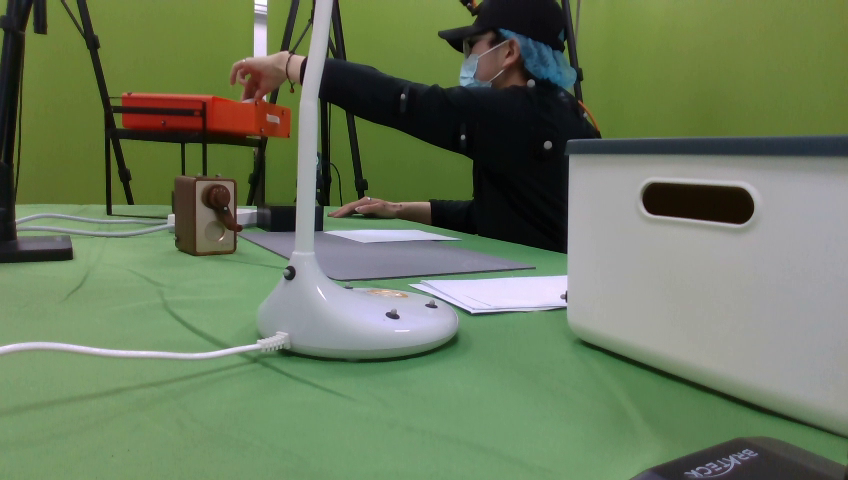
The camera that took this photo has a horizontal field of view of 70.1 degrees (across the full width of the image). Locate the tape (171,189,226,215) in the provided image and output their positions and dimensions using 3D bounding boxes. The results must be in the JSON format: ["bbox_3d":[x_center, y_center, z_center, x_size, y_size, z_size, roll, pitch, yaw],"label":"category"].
[{"bbox_3d":[-0.516,-0.087,1.388,0.117,0.052,0.117,3,8,0],"label":"tape"}]

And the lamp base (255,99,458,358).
[{"bbox_3d":[-0.056,-0.013,0.463,0.160,0.180,0.180,6,11,27],"label":"lamp base"}]

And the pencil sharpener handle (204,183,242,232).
[{"bbox_3d":[-0.265,-0.043,0.813,0.036,0.068,0.030,-32,28,-35],"label":"pencil sharpener handle"}]

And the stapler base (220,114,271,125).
[{"bbox_3d":[-0.399,-0.272,1.362,0.041,0.024,0.131,3,14,27],"label":"stapler base"}]

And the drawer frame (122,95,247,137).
[{"bbox_3d":[-0.526,-0.281,1.376,0.213,0.082,0.202,3,8,8],"label":"drawer frame"}]

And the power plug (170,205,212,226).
[{"bbox_3d":[-0.455,-0.041,1.196,0.052,0.035,0.072,1,43,24],"label":"power plug"}]

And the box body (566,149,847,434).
[{"bbox_3d":[0.317,0.009,0.472,0.366,0.160,0.253,-2,8,-31],"label":"box body"}]

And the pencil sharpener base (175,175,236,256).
[{"bbox_3d":[-0.305,-0.036,0.847,0.062,0.107,0.076,-4,10,-42],"label":"pencil sharpener base"}]

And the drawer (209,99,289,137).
[{"bbox_3d":[-0.434,-0.273,1.364,0.211,0.073,0.195,2,8,9],"label":"drawer"}]

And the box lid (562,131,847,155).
[{"bbox_3d":[0.322,-0.064,0.463,0.373,0.015,0.262,-2,9,-31],"label":"box lid"}]

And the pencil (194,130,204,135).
[{"bbox_3d":[-0.424,-0.252,1.349,0.012,0.012,0.195,8,20,38],"label":"pencil"}]

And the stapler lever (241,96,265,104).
[{"bbox_3d":[-0.400,-0.299,1.354,0.026,0.040,0.118,3,16,27],"label":"stapler lever"}]

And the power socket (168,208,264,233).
[{"bbox_3d":[-0.382,-0.038,1.129,0.072,0.032,0.227,4,8,17],"label":"power socket"}]
